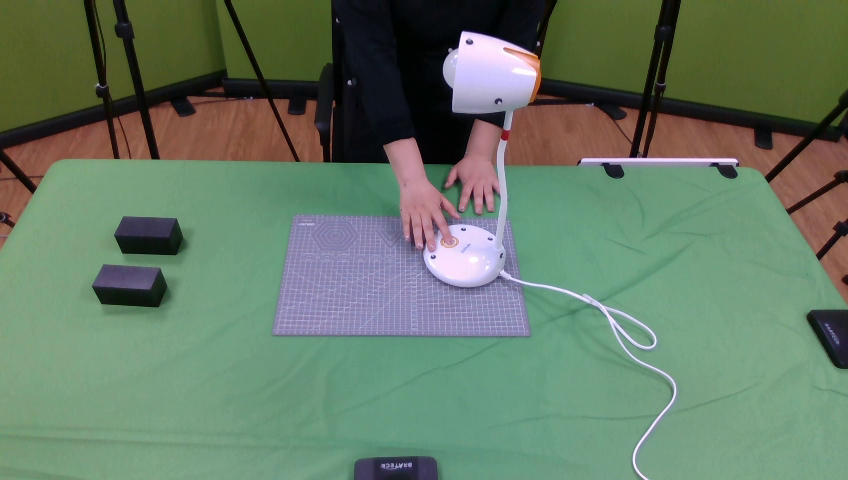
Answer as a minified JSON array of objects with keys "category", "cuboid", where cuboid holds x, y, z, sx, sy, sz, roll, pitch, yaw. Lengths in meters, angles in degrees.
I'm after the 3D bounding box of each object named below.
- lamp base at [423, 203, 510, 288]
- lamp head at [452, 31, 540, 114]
[{"category":"lamp base","cuboid":[0.092,-0.021,1.111,0.179,0.181,0.160,23,49,14]},{"category":"lamp head","cuboid":[0.101,-0.228,0.859,0.123,0.113,0.112,11,46,0]}]
